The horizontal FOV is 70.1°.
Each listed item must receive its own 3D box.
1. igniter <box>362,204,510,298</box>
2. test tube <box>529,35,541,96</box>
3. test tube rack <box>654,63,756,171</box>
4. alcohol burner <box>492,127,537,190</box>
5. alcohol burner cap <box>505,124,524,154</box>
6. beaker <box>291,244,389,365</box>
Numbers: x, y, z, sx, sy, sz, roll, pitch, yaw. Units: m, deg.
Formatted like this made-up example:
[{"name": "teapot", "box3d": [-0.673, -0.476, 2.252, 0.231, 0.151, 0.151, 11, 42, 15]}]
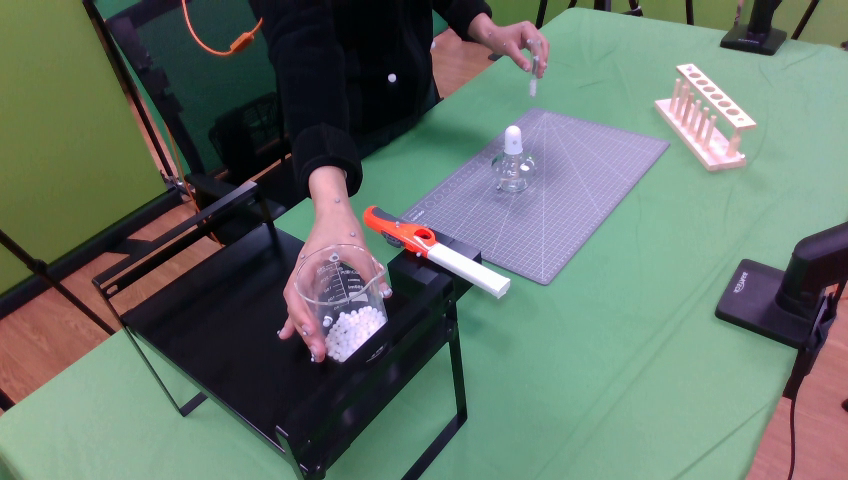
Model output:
[{"name": "igniter", "box3d": [0.007, 0.009, 0.887, 0.274, 0.025, 0.057, 29, 50, 32]}, {"name": "test tube", "box3d": [0.197, -0.307, 1.078, 0.017, 0.151, 0.017, -3, 65, 6]}, {"name": "test tube rack", "box3d": [0.510, -0.233, 1.120, 0.067, 0.085, 0.241, -8, 41, -1]}, {"name": "alcohol burner", "box3d": [0.156, -0.146, 1.045, 0.078, 0.119, 0.077, -3, 44, 4]}, {"name": "alcohol burner cap", "box3d": [0.151, -0.173, 1.022, 0.034, 0.048, 0.033, -6, 38, 5]}, {"name": "beaker", "box3d": [-0.072, 0.064, 0.572, 0.084, 0.101, 0.073, -8, 45, 0]}]
